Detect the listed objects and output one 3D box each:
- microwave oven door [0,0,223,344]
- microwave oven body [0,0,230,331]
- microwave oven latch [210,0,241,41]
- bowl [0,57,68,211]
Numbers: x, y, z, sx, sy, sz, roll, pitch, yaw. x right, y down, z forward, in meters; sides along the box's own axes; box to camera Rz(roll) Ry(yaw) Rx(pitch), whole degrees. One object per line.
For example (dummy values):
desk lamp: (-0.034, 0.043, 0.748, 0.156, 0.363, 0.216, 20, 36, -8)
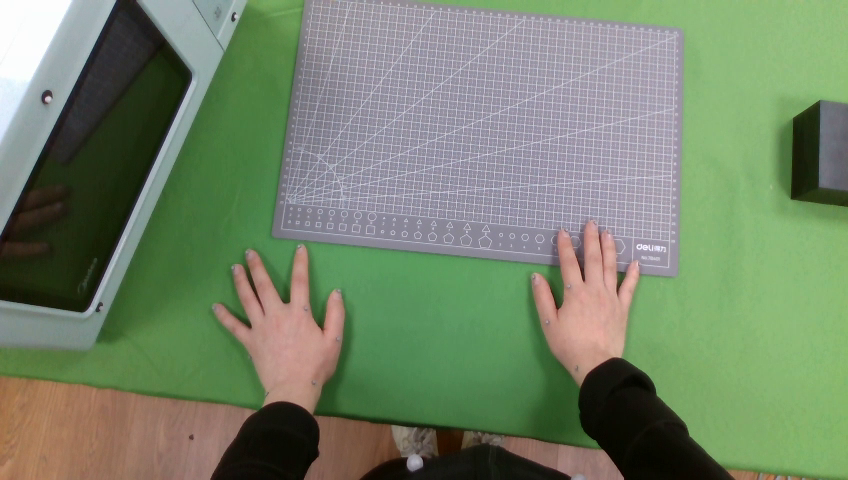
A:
microwave oven door: (-0.299, -0.082, 0.541, 0.039, 0.244, 0.354, 19, 80, 3)
microwave oven body: (-0.423, -0.169, 0.558, 0.326, 0.261, 0.440, 19, 81, 2)
microwave oven latch: (-0.225, -0.266, 0.678, 0.030, 0.029, 0.079, 21, 81, 2)
bowl: (-0.403, -0.089, 0.576, 0.151, 0.077, 0.150, 0, 77, 1)
